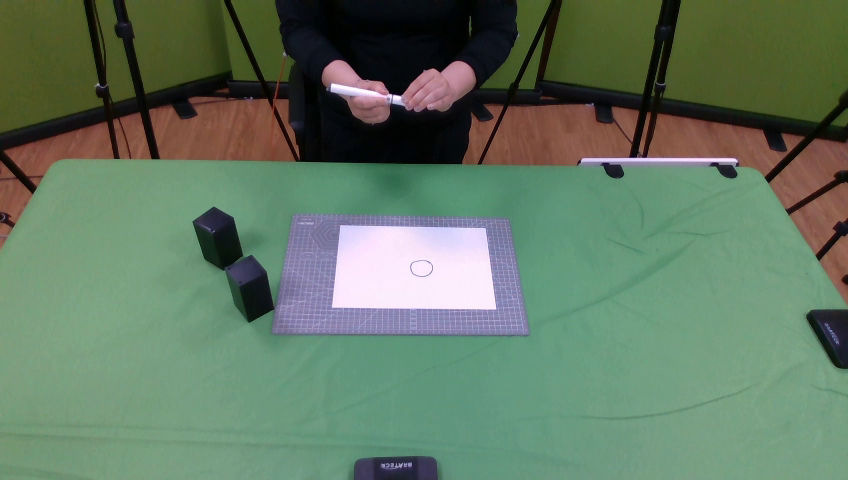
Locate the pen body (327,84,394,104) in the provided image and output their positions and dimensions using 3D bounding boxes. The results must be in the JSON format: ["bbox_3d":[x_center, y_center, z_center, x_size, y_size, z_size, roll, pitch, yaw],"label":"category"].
[{"bbox_3d":[-0.102,-0.262,1.097,0.144,0.017,0.017,10,45,-5],"label":"pen body"}]

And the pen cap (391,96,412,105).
[{"bbox_3d":[-0.042,-0.253,1.103,0.038,0.017,0.017,0,46,-4],"label":"pen cap"}]
